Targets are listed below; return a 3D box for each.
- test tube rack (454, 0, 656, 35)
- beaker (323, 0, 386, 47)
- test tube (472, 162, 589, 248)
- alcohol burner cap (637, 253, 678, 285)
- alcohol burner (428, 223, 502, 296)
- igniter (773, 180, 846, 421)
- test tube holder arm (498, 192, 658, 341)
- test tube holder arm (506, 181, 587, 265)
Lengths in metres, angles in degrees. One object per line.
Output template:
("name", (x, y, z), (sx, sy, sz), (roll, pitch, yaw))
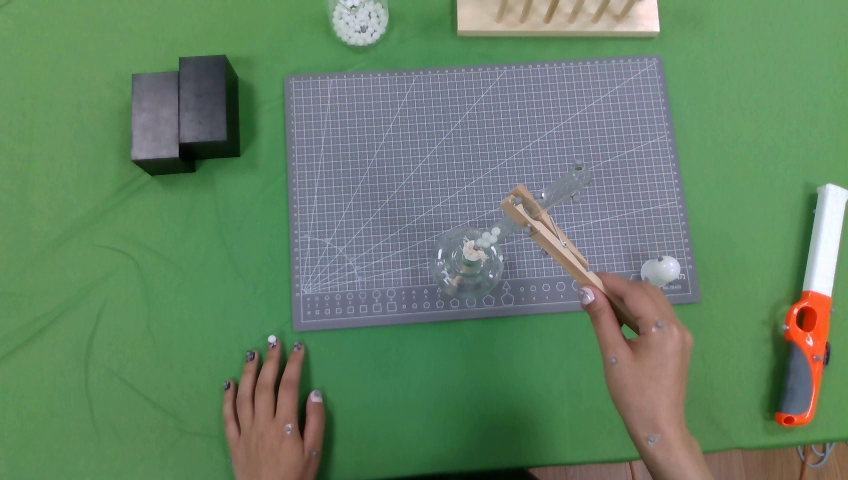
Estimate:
("test tube rack", (0.159, -0.290, 0.700), (0.242, 0.085, 0.066), (0, 79, -2))
("beaker", (-0.079, -0.270, 0.682), (0.074, 0.100, 0.083), (-1, 79, -2))
("test tube", (0.078, -0.023, 0.482), (0.017, 0.150, 0.017), (9, 67, -23))
("alcohol burner cap", (0.256, 0.030, 0.660), (0.034, 0.048, 0.033), (0, 77, -1))
("alcohol burner", (0.044, 0.017, 0.619), (0.078, 0.119, 0.077), (1, 77, -3))
("igniter", (0.427, 0.066, 0.668), (0.057, 0.025, 0.275), (18, 79, -8))
("test tube holder arm", (0.127, 0.025, 0.490), (0.179, 0.015, 0.013), (43, 58, -12))
("test tube holder arm", (0.099, -0.010, 0.485), (0.088, 0.015, 0.010), (50, 57, -8))
